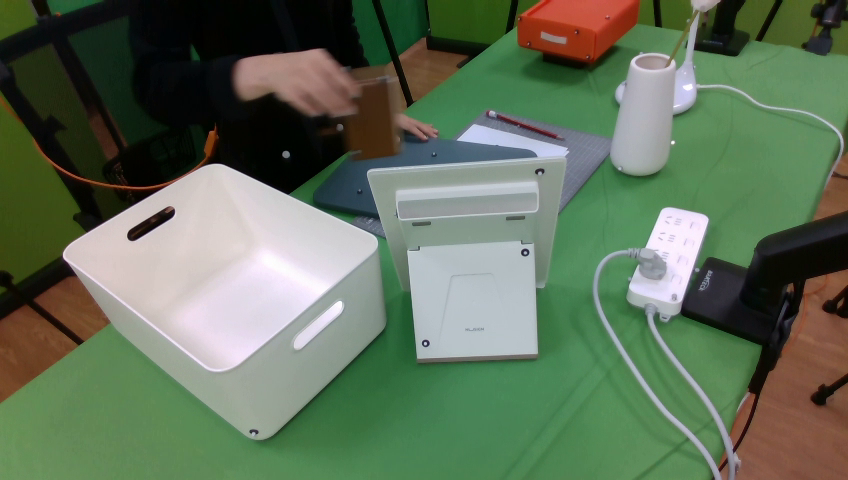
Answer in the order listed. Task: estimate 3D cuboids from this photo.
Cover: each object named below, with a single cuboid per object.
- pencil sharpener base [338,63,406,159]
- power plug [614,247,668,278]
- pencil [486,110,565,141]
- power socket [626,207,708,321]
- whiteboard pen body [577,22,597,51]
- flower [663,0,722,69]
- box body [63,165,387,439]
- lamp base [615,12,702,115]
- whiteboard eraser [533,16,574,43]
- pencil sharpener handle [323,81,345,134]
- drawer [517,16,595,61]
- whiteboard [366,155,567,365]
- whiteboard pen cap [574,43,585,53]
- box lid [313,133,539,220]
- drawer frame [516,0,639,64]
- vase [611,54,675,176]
[{"bbox_3d":[-0.069,-0.169,0.796,0.077,0.107,0.061,-10,36,-5],"label":"pencil sharpener base"},{"bbox_3d":[0.306,0.031,0.851,0.072,0.053,0.035,24,49,33],"label":"power plug"},{"bbox_3d":[0.204,-0.232,1.226,0.192,0.012,0.012,29,52,33],"label":"pencil"},{"bbox_3d":[0.359,0.025,0.886,0.072,0.033,0.227,16,46,26],"label":"power socket"},{"bbox_3d":[0.372,-0.468,1.390,0.017,0.017,0.141,14,47,23],"label":"whiteboard pen body"},{"bbox_3d":[0.379,-0.261,0.965,0.044,0.362,0.038,21,53,5],"label":"flower"},{"bbox_3d":[-0.257,0.068,0.824,0.361,0.161,0.255,24,49,31],"label":"box body"},{"bbox_3d":[0.484,-0.364,1.211,0.180,0.181,0.159,-15,41,-14],"label":"lamp base"},{"bbox_3d":[0.305,-0.493,1.423,0.055,0.042,0.113,26,43,25],"label":"whiteboard eraser"},{"bbox_3d":[-0.120,-0.170,0.783,0.031,0.068,0.035,-10,37,-5],"label":"pencil sharpener handle"},{"bbox_3d":[0.353,-0.505,1.404,0.193,0.073,0.212,25,50,33],"label":"drawer"},{"bbox_3d":[0.059,0.050,0.738,0.217,0.307,0.143,-3,60,5],"label":"whiteboard"},{"bbox_3d":[0.346,-0.430,1.350,0.018,0.018,0.033,15,37,24],"label":"whiteboard pen cap"},{"bbox_3d":[0.007,-0.113,1.114,0.369,0.015,0.263,11,44,21],"label":"box lid"},{"bbox_3d":[0.356,-0.507,1.410,0.200,0.083,0.214,25,52,32],"label":"drawer frame"},{"bbox_3d":[0.377,-0.209,1.031,0.098,0.201,0.097,-3,40,3],"label":"vase"}]
